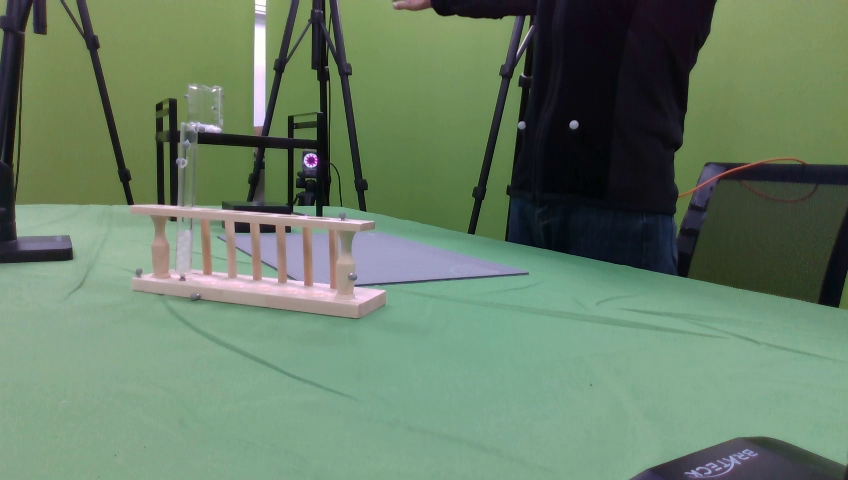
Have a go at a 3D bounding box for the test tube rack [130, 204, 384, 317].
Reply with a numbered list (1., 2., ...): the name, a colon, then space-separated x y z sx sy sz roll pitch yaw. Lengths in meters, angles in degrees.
1. test tube rack: -0.162 0.013 0.589 0.242 0.085 0.067 5 8 17

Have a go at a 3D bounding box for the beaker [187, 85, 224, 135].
1. beaker: -0.466 -0.276 1.296 0.074 0.100 0.083 -3 10 -35

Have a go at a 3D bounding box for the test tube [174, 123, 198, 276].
1. test tube: -0.232 -0.038 0.588 0.017 0.150 0.017 6 9 -1
